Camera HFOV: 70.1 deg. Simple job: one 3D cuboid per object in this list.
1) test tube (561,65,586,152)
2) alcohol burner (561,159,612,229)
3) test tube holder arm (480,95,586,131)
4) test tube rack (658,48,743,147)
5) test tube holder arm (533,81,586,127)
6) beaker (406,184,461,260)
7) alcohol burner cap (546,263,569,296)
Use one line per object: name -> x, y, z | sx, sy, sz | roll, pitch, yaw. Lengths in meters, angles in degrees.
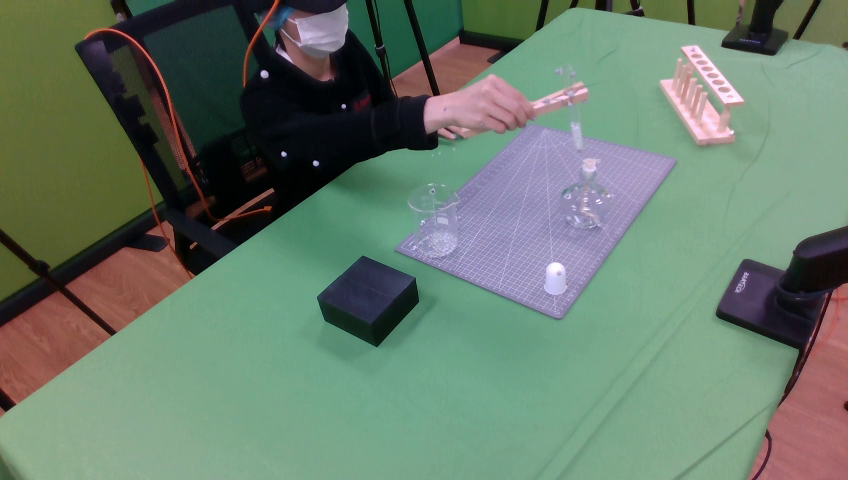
test tube -> 0.213, -0.182, 0.854 | 0.017, 0.151, 0.017 | -12, 48, 14
alcohol burner -> 0.257, -0.077, 0.951 | 0.078, 0.119, 0.077 | -3, 40, 3
test tube holder arm -> 0.147, -0.170, 0.804 | 0.179, 0.013, 0.015 | -19, 46, -29
test tube rack -> 0.532, -0.284, 1.181 | 0.067, 0.085, 0.241 | -5, 40, 4
test tube holder arm -> 0.185, -0.185, 0.824 | 0.088, 0.010, 0.015 | -39, 51, -8
beaker -> 0.019, -0.026, 0.939 | 0.084, 0.101, 0.074 | 1, 41, 9
alcohol burner cap -> 0.191, 0.053, 0.862 | 0.034, 0.048, 0.033 | -5, 40, 4
